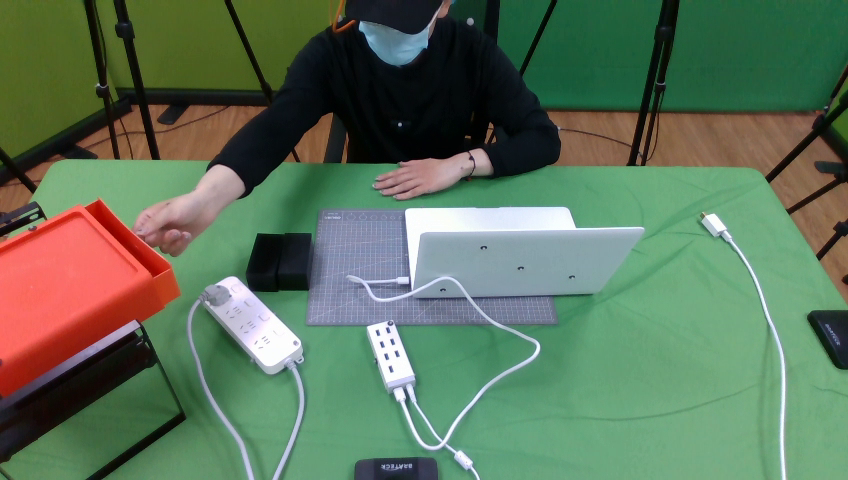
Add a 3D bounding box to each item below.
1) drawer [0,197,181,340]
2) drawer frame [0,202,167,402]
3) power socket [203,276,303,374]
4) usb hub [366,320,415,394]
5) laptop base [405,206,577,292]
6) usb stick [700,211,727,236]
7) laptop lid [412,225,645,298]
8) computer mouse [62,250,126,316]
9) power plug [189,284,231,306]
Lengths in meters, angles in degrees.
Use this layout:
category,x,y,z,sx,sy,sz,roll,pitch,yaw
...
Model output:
category,x,y,z,sx,sy,sz,roll,pitch,yaw
drawer,-0.477,0.058,0.819,0.193,0.073,0.211,35,54,25
drawer frame,-0.494,0.072,0.802,0.200,0.083,0.213,35,54,25
power socket,-0.296,0.141,1.034,0.072,0.033,0.225,-34,58,-30
usb hub,-0.056,0.192,1.009,0.049,0.025,0.124,-12,49,-16
laptop base,0.143,0.018,1.196,0.355,0.023,0.234,-1,43,-6
usb stick,0.606,-0.038,1.273,0.027,0.021,0.059,-18,57,-20
laptop lid,0.161,0.042,1.012,0.357,0.242,0.013,0,59,-7
computer mouse,-0.458,0.054,0.842,0.063,0.041,0.116,-7,42,-7
power plug,-0.368,0.100,1.037,0.072,0.053,0.035,-24,53,-26
